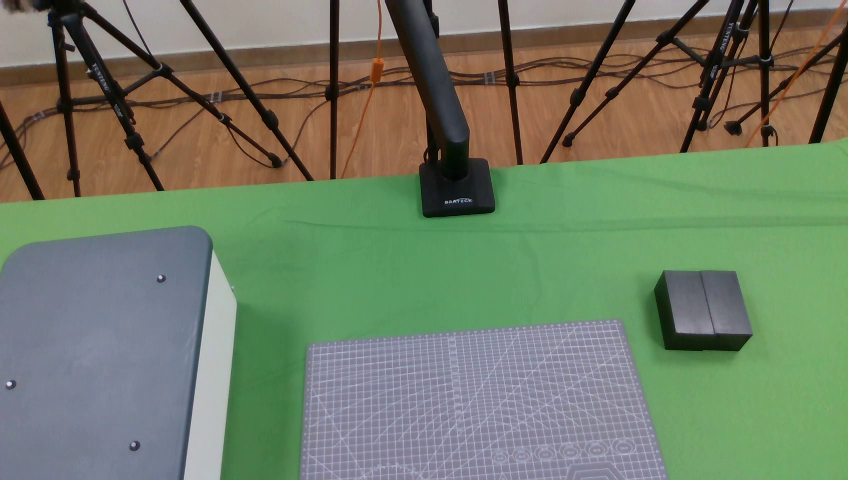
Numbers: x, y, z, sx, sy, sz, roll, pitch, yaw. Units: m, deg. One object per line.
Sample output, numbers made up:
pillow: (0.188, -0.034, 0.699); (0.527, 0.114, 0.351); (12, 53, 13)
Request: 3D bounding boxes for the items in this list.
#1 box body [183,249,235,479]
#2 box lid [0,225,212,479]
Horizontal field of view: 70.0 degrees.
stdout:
box body: (-0.384, 0.185, 0.741); (0.254, 0.162, 0.360); (-6, 54, -2)
box lid: (-0.386, 0.140, 0.682); (0.263, 0.015, 0.367); (-6, 55, -2)
